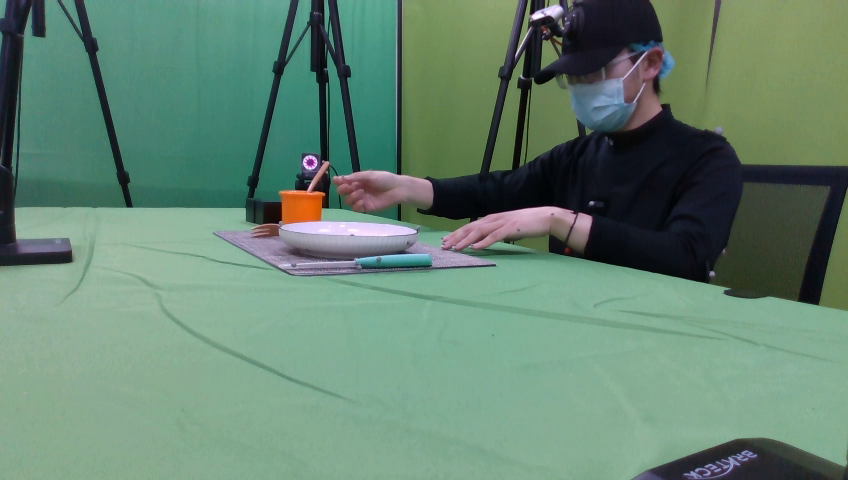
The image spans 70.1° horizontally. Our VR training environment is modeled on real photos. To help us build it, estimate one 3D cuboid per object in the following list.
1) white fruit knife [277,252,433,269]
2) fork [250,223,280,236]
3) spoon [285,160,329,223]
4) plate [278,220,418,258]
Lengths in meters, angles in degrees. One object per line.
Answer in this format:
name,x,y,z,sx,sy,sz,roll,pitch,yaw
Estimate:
white fruit knife,-0.082,0.029,0.772,0.208,0.016,0.027,-3,-20,-22
fork,-0.194,-0.014,1.051,0.208,0.028,0.018,3,38,-14
spoon,-0.237,-0.101,1.253,0.041,0.193,0.022,2,-37,25
plate,-0.114,-0.002,0.914,0.209,0.038,0.209,2,7,0
